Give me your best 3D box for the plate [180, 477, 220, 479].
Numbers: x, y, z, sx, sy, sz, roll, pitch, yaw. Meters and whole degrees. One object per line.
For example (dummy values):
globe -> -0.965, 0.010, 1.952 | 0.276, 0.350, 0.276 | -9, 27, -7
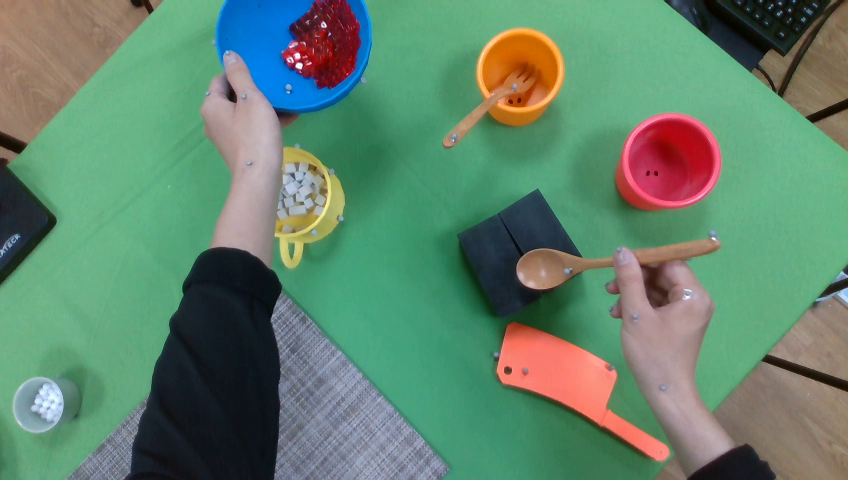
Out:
plate -> -0.244, 0.363, 0.665 | 0.209, 0.038, 0.208 | 0, 85, 5

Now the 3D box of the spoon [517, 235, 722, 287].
spoon -> 0.164, 0.017, 0.538 | 0.022, 0.193, 0.041 | -18, 95, -41

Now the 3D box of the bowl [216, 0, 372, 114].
bowl -> -0.125, -0.194, 0.619 | 0.151, 0.077, 0.151 | 0, 84, -1

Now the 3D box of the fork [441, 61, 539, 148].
fork -> 0.072, -0.145, 0.631 | 0.028, 0.019, 0.207 | 37, 45, 7

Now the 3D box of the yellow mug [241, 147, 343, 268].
yellow mug -> -0.147, -0.033, 0.682 | 0.100, 0.064, 0.130 | 1, 86, 5

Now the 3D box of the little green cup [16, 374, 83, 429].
little green cup -> -0.430, 0.185, 0.701 | 0.061, 0.039, 0.061 | 0, 85, 5

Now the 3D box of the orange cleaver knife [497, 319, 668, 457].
orange cleaver knife -> 0.175, 0.160, 0.661 | 0.211, 0.012, 0.077 | 28, 83, 8
